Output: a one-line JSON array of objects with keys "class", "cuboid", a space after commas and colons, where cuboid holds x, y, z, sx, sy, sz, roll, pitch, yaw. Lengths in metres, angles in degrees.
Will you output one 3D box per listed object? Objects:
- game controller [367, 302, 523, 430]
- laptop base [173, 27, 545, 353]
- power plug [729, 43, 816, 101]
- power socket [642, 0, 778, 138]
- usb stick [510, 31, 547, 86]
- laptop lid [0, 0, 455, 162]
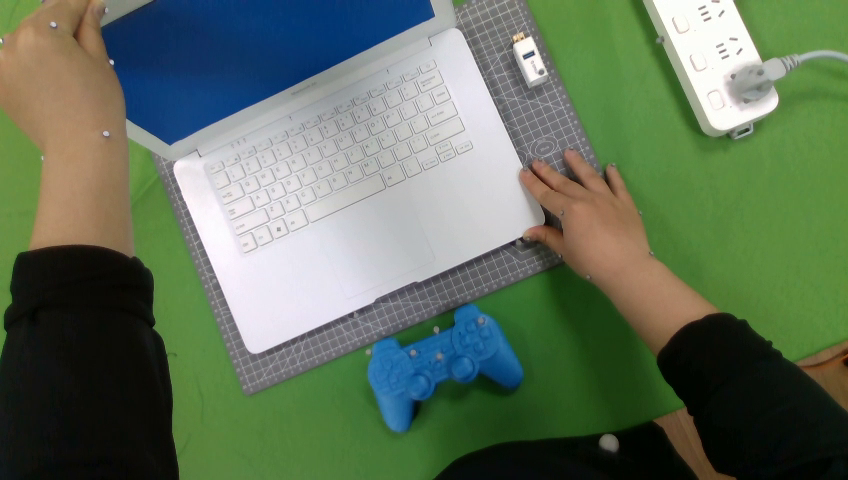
[{"class": "game controller", "cuboid": [0.016, 0.129, 0.623, 0.155, 0.052, 0.096, -23, 80, 5]}, {"class": "laptop base", "cuboid": [-0.076, -0.052, 0.656, 0.354, 0.023, 0.235, -25, 88, 6]}, {"class": "power plug", "cuboid": [0.331, -0.156, 0.580, 0.072, 0.053, 0.035, -11, 85, 3]}, {"class": "power socket", "cuboid": [0.278, -0.211, 0.609, 0.072, 0.032, 0.226, -23, 85, 7]}, {"class": "usb stick", "cuboid": [0.107, -0.193, 0.631, 0.021, 0.027, 0.059, -25, 81, 9]}, {"class": "laptop lid", "cuboid": [-0.149, -0.185, 0.553, 0.356, 0.243, 0.013, -25, 74, 7]}]
